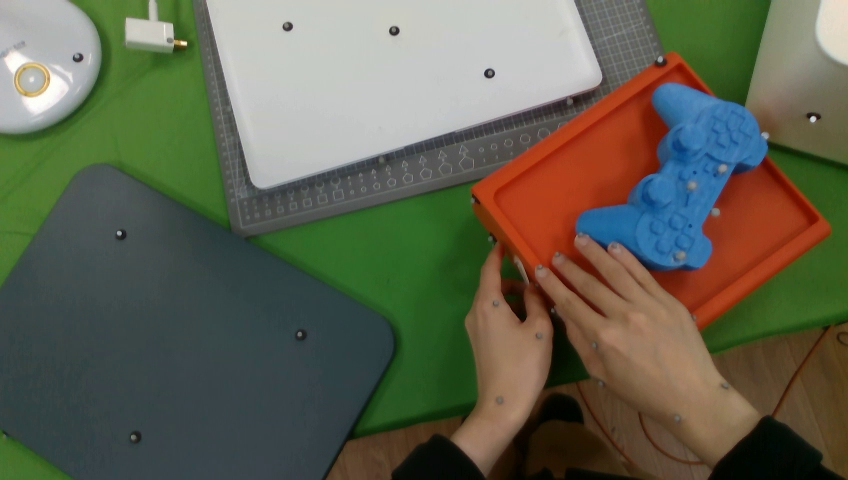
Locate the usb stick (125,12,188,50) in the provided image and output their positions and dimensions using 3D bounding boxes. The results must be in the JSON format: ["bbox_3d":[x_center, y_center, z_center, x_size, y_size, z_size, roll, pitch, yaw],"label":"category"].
[{"bbox_3d":[-0.273,-0.212,0.619,0.059,0.021,0.027,3,80,-29],"label":"usb stick"}]

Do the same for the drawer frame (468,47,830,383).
[{"bbox_3d":[0.179,-0.021,0.520,0.213,0.083,0.200,-35,78,-3],"label":"drawer frame"}]

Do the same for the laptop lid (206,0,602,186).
[{"bbox_3d":[-0.028,-0.209,0.598,0.357,0.013,0.240,-15,79,1],"label":"laptop lid"}]

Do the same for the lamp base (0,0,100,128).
[{"bbox_3d":[-0.433,-0.218,0.561,0.160,0.181,0.178,-42,75,-6],"label":"lamp base"}]

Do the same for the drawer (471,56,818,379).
[{"bbox_3d":[0.179,-0.019,0.521,0.212,0.073,0.193,-35,77,-3],"label":"drawer"}]

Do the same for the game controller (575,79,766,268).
[{"bbox_3d":[0.196,-0.051,0.473,0.097,0.052,0.155,32,83,6],"label":"game controller"}]

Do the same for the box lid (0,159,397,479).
[{"bbox_3d":[-0.238,0.104,0.563,0.370,0.015,0.263,28,82,9],"label":"box lid"}]

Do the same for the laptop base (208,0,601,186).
[{"bbox_3d":[-0.027,-0.208,0.610,0.354,0.023,0.234,-17,80,0],"label":"laptop base"}]

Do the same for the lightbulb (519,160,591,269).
[{"bbox_3d":[0.121,-0.025,0.533,0.059,0.060,0.107,21,69,9],"label":"lightbulb"}]

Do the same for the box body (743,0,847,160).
[{"bbox_3d":[0.452,-0.241,0.507,0.253,0.161,0.363,18,80,8],"label":"box body"}]
